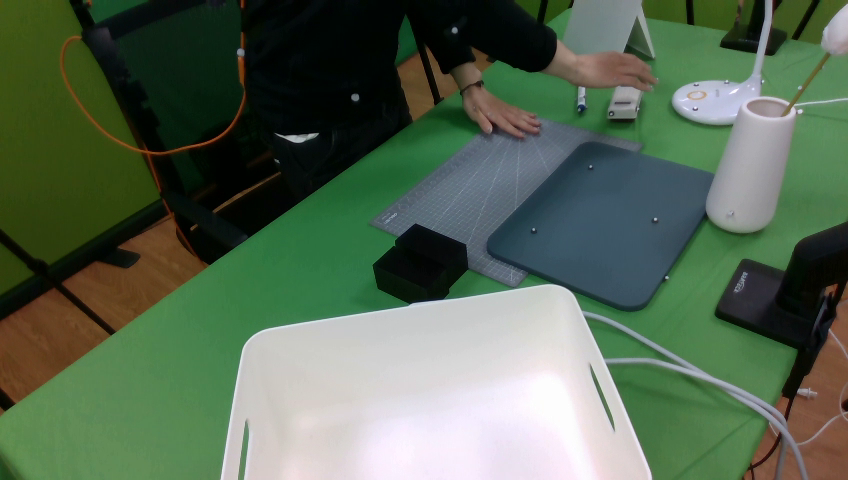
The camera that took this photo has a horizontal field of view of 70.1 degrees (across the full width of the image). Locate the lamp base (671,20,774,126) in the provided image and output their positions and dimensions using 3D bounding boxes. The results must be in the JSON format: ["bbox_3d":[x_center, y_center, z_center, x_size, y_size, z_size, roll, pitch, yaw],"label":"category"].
[{"bbox_3d":[0.581,-0.332,1.154,0.179,0.181,0.160,2,42,7],"label":"lamp base"}]

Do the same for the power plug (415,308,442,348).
[{"bbox_3d":[0.004,0.121,0.786,0.035,0.053,0.072,1,45,8],"label":"power plug"}]

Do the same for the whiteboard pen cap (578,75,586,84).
[{"bbox_3d":[0.349,-0.351,1.334,0.018,0.018,0.033,3,38,12],"label":"whiteboard pen cap"}]

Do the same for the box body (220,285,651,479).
[{"bbox_3d":[0.005,0.211,0.616,0.364,0.161,0.252,-9,40,-2],"label":"box body"}]

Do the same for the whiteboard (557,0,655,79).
[{"bbox_3d":[0.462,-0.542,1.367,0.145,0.306,0.215,-3,36,-25],"label":"whiteboard"}]

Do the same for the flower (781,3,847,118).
[{"bbox_3d":[0.480,-0.157,0.823,0.044,0.362,0.038,-9,56,-9],"label":"flower"}]

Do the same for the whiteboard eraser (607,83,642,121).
[{"bbox_3d":[0.406,-0.277,1.222,0.055,0.042,0.112,9,43,21],"label":"whiteboard eraser"}]

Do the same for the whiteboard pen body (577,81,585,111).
[{"bbox_3d":[0.336,-0.313,1.292,0.017,0.017,0.140,3,40,12],"label":"whiteboard pen body"}]

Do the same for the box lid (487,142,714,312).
[{"bbox_3d":[0.298,-0.041,0.986,0.261,0.015,0.372,23,49,30],"label":"box lid"}]

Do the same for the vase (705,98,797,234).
[{"bbox_3d":[0.480,-0.104,0.889,0.098,0.201,0.097,-4,42,4],"label":"vase"}]

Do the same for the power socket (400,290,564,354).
[{"bbox_3d":[0.079,0.111,0.823,0.227,0.033,0.072,-6,41,1],"label":"power socket"}]
